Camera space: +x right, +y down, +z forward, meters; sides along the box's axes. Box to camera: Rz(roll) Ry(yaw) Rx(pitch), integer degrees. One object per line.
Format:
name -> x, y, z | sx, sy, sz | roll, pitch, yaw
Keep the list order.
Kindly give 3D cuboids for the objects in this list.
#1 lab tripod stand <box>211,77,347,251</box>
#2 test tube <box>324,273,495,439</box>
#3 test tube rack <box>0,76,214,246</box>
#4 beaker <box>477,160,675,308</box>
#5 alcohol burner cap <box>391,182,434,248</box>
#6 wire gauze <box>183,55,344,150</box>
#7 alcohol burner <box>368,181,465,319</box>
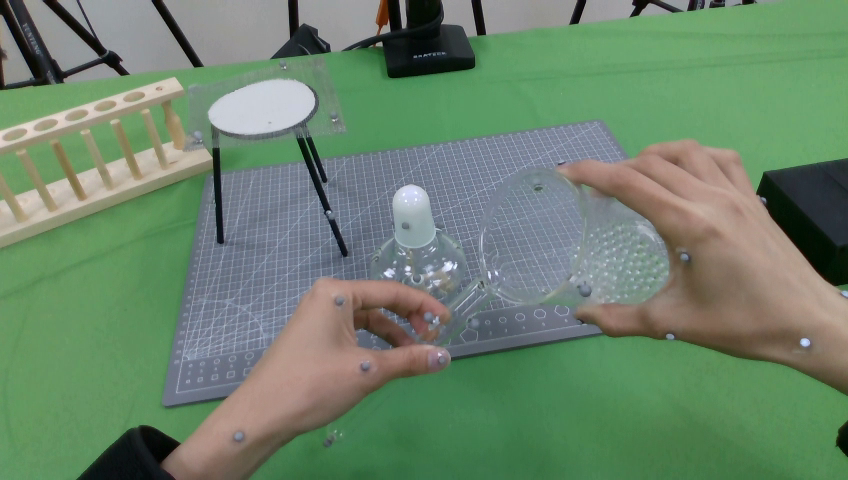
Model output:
lab tripod stand -> -0.132, -0.066, 0.547 | 0.148, 0.133, 0.147 | -3, 45, 3
test tube -> -0.013, 0.074, 0.369 | 0.150, 0.017, 0.017 | -46, 41, 19
test tube rack -> -0.355, -0.083, 0.626 | 0.242, 0.086, 0.066 | -26, 47, -21
beaker -> 0.090, 0.004, 0.354 | 0.101, 0.084, 0.073 | 9, 42, -39
alcohol burner cap -> -0.011, -0.021, 0.451 | 0.034, 0.048, 0.033 | -3, 45, 4
wire gauze -> -0.136, -0.115, 0.501 | 0.125, 0.011, 0.120 | -13, 43, -8
alcohol burner -> -0.007, 0.005, 0.475 | 0.078, 0.120, 0.077 | -2, 41, 2
